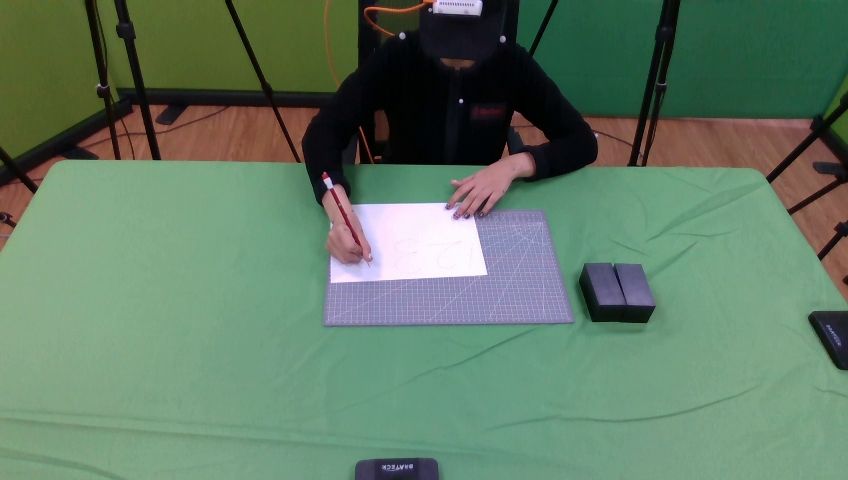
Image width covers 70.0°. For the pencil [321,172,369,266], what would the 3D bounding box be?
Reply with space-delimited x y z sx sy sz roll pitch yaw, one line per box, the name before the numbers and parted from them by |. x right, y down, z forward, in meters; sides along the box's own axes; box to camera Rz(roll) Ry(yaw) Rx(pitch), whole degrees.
pencil | -0.145 -0.037 1.126 0.012 0.194 0.012 -23 14 6
